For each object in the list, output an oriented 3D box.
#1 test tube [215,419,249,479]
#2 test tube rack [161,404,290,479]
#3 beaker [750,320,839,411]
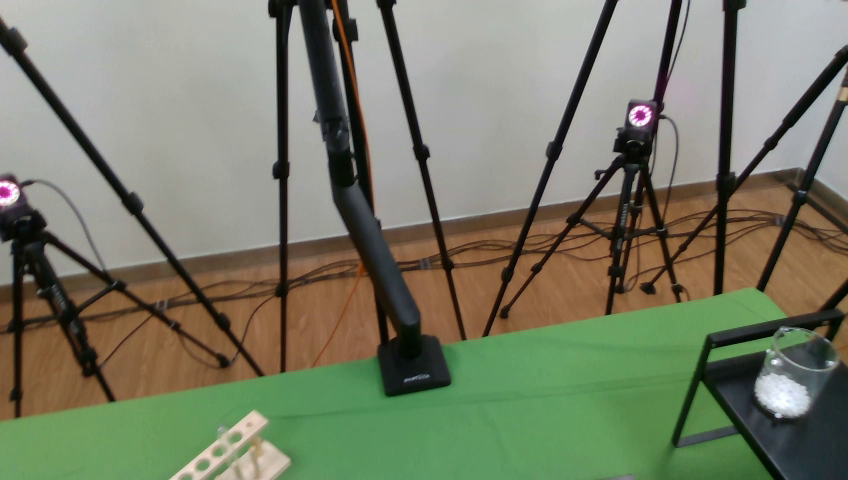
[{"bbox_3d":[-0.272,0.305,0.862,0.017,0.151,0.017,-2,37,2],"label":"test tube"},{"bbox_3d":[-0.312,0.356,0.871,0.066,0.086,0.242,24,45,30],"label":"test tube rack"},{"bbox_3d":[0.471,0.163,0.783,0.074,0.101,0.083,-6,37,-6],"label":"beaker"}]
